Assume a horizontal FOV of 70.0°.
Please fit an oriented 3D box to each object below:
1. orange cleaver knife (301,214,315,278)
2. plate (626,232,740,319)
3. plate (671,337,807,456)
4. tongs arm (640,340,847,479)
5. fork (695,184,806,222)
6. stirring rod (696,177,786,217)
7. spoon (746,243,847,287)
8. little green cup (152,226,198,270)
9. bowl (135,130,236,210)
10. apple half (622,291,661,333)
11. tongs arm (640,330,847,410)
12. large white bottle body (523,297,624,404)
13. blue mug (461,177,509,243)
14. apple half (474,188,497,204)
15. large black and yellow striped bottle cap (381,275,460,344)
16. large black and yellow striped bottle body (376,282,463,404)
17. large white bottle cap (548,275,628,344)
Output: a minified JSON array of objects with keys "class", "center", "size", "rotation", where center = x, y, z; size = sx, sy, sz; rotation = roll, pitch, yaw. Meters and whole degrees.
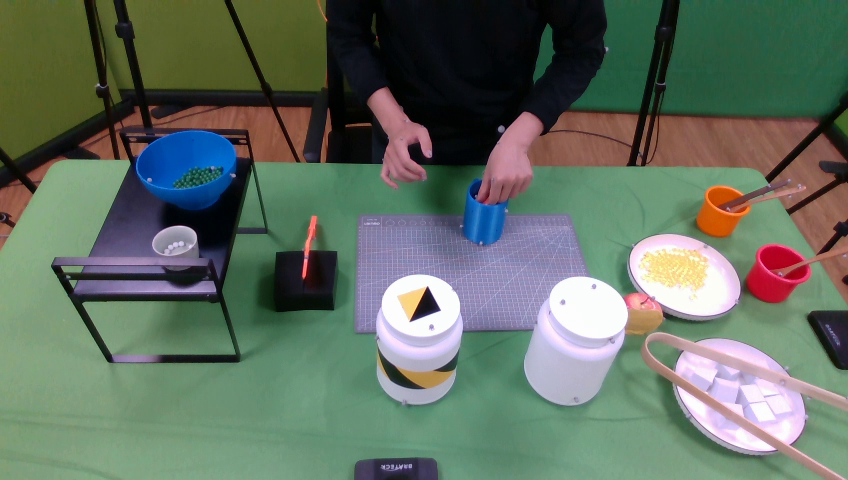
[{"class":"orange cleaver knife","center":[-0.218,0.007,1.131],"size":[0.012,0.077,0.210],"rotation":[7,19,-9]},{"class":"plate","center":[0.488,0.071,1.157],"size":[0.209,0.038,0.208],"rotation":[3,46,-3]},{"class":"plate","center":[0.504,0.254,0.984],"size":[0.208,0.039,0.206],"rotation":[2,46,-2]},{"class":"tongs arm","center":[0.500,0.277,0.919],"size":[0.386,0.028,0.028],"rotation":[34,59,22]},{"class":"fork","center":[0.658,-0.074,1.230],"size":[0.207,0.019,0.028],"rotation":[-24,34,36]},{"class":"stirring rod","center":[0.648,-0.087,1.244],"size":[0.176,0.006,0.014],"rotation":[-25,50,29]},{"class":"spoon","center":[0.702,0.043,1.126],"size":[0.194,0.022,0.041],"rotation":[-29,38,30]},{"class":"little green cup","center":[-0.364,0.013,0.894],"size":[0.061,0.039,0.061],"rotation":[3,47,-3]},{"class":"bowl","center":[-0.375,-0.102,0.978],"size":[0.151,0.077,0.150],"rotation":[3,46,-2]},{"class":"apple half","center":[0.372,0.123,1.074],"size":[0.081,0.075,0.053],"rotation":[0,42,1]},{"class":"tongs arm","center":[0.543,0.225,0.969],"size":[0.384,0.026,0.050],"rotation":[22,52,13]},{"class":"large white bottle body","center":[0.235,0.159,0.952],"size":[0.131,0.185,0.130],"rotation":[2,47,-2]},{"class":"blue mug","center":[0.114,-0.070,1.211],"size":[0.082,0.106,0.115],"rotation":[-11,48,-15]},{"class":"apple half","center":[0.110,-0.070,1.192],"size":[0.033,0.081,0.081],"rotation":[29,50,9]},{"class":"large black and yellow striped bottle cap","center":[-0.005,0.098,0.875],"size":[0.115,0.019,0.114],"rotation":[2,45,-2]},{"class":"large black and yellow striped bottle body","center":[-0.010,0.155,0.937],"size":[0.131,0.185,0.130],"rotation":[2,47,-2]},{"class":"large white bottle cap","center":[0.240,0.100,0.890],"size":[0.115,0.018,0.114],"rotation":[3,47,-3]}]
